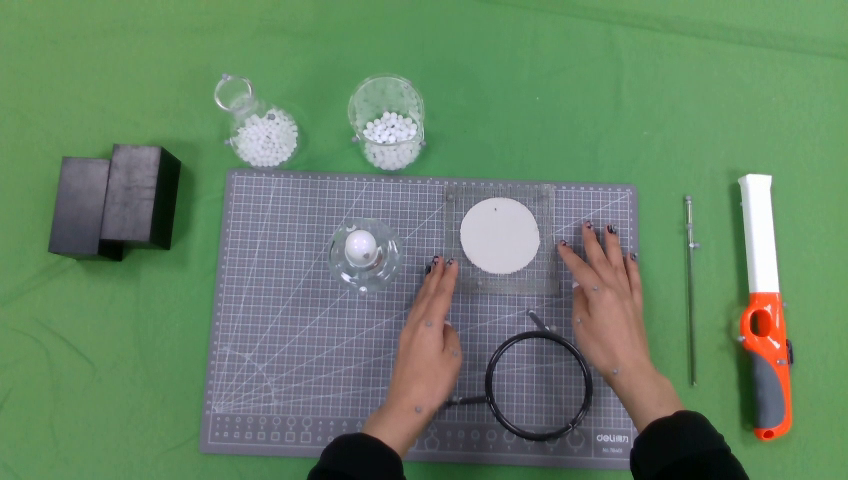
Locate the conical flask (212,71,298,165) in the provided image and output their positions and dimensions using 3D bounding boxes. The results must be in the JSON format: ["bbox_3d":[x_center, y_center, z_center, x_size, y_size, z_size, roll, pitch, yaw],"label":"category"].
[{"bbox_3d":[-0.176,-0.127,0.615,0.075,0.122,0.075,0,80,0],"label":"conical flask"}]

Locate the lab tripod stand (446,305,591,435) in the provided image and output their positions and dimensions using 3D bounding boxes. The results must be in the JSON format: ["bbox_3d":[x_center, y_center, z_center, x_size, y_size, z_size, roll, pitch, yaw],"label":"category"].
[{"bbox_3d":[0.091,0.131,0.567,0.148,0.132,0.148,0,82,0],"label":"lab tripod stand"}]

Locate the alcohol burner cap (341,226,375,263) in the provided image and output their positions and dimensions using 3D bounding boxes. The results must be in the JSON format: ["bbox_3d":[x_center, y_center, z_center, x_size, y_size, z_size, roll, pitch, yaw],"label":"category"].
[{"bbox_3d":[-0.061,0.002,0.560,0.034,0.048,0.033,1,81,-6],"label":"alcohol burner cap"}]

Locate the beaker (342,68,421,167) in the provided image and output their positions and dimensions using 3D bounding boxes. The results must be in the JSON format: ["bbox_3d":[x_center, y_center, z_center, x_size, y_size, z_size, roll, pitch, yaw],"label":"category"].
[{"bbox_3d":[-0.037,-0.119,0.628,0.084,0.100,0.074,38,82,5],"label":"beaker"}]

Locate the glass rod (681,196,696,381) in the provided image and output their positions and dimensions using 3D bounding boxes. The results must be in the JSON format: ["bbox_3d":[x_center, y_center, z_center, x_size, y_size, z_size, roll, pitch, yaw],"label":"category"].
[{"bbox_3d":[0.283,0.049,0.648,0.008,0.008,0.199,2,80,0],"label":"glass rod"}]

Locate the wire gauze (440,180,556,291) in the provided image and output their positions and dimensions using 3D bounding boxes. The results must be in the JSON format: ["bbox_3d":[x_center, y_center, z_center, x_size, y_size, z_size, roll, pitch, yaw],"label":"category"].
[{"bbox_3d":[0.080,-0.006,0.654,0.125,0.011,0.121,1,81,-2],"label":"wire gauze"}]

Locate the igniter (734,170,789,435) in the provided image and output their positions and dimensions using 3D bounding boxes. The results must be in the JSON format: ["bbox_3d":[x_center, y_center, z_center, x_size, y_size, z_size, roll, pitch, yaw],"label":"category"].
[{"bbox_3d":[0.352,0.062,0.637,0.057,0.025,0.275,3,81,-11],"label":"igniter"}]

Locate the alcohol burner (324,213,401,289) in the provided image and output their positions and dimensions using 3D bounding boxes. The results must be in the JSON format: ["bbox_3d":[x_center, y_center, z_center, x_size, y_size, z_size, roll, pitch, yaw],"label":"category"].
[{"bbox_3d":[-0.062,0.009,0.596,0.078,0.119,0.077,0,82,-1],"label":"alcohol burner"}]
